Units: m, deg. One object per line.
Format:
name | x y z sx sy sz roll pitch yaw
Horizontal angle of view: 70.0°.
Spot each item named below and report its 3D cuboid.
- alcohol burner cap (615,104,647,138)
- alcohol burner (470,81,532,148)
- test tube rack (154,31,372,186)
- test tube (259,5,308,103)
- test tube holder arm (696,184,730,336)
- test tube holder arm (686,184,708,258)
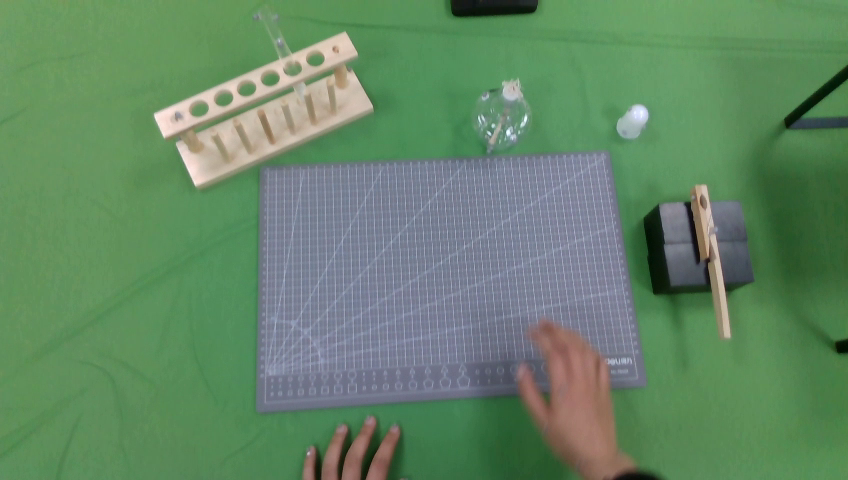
alcohol burner cap | 0.270 -0.156 0.785 0.034 0.048 0.033 0 73 -1
alcohol burner | 0.097 -0.162 0.742 0.078 0.119 0.077 1 75 -2
test tube rack | -0.188 -0.159 0.742 0.242 0.085 0.066 -26 76 -10
test tube | -0.159 -0.211 0.705 0.017 0.151 0.017 -3 64 6
test tube holder arm | 0.331 0.021 0.700 0.013 0.015 0.177 -4 76 -4
test tube holder arm | 0.322 -0.022 0.710 0.010 0.015 0.087 -4 76 -4
